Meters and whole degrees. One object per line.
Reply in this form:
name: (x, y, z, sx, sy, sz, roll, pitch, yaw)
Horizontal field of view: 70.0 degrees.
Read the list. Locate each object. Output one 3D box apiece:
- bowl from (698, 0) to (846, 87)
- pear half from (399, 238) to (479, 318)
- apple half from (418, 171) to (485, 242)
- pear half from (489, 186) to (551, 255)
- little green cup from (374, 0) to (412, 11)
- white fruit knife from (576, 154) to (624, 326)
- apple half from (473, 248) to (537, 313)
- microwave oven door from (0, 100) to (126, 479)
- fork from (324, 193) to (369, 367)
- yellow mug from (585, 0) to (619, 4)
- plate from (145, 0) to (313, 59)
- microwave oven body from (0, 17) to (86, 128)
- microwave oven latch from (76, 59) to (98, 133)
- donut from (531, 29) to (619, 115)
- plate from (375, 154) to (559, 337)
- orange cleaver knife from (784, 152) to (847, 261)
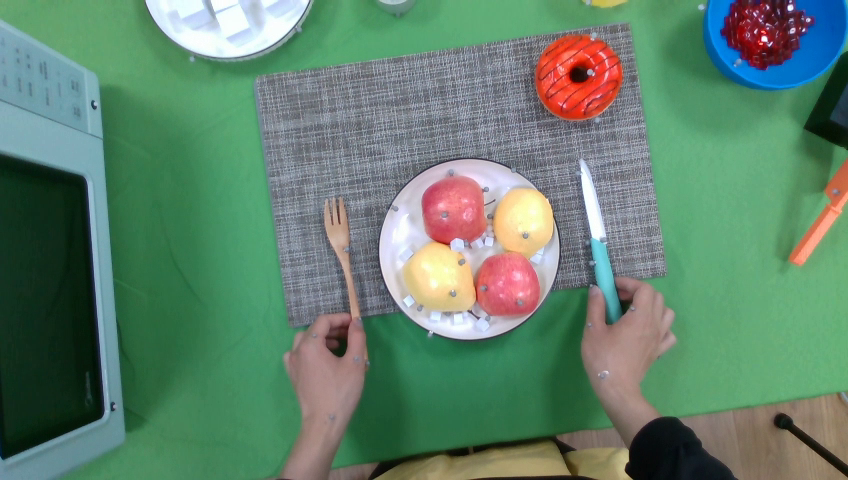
bowl: (0.373, -0.238, 0.680, 0.151, 0.077, 0.151, 0, 89, 2)
pear half: (0.025, 0.050, 0.682, 0.110, 0.056, 0.076, 43, 94, -2)
apple half: (0.030, -0.038, 0.681, 0.074, 0.053, 0.081, -3, 92, 2)
pear half: (0.105, -0.018, 0.683, 0.070, 0.031, 0.088, 15, 92, 22)
little green cup: (-0.038, -0.301, 0.711, 0.061, 0.038, 0.061, 0, 88, 2)
white fruit knife: (0.201, 0.000, 0.704, 0.027, 0.016, 0.207, -9, 85, -33)
apple half: (0.085, 0.047, 0.678, 0.081, 0.033, 0.081, 1, 93, 24)
microwave oven door: (-0.382, 0.050, 0.590, 0.039, 0.244, 0.355, -6, 88, 2)
fork: (-0.088, 0.047, 0.709, 0.028, 0.018, 0.207, -11, 88, 7)
yellow mug: (0.195, -0.332, 0.692, 0.131, 0.064, 0.100, 2, 88, 2)
plate: (-0.226, -0.313, 0.716, 0.207, 0.039, 0.207, 0, 88, 1)
microwave oven body: (-0.532, 0.022, 0.599, 0.326, 0.260, 0.441, -5, 89, 1)
microwave oven latch: (-0.397, -0.164, 0.697, 0.030, 0.029, 0.079, -5, 89, 1)
donut: (0.172, -0.192, 0.696, 0.099, 0.048, 0.099, 0, 89, 4)
plate: (0.049, 0.006, 0.697, 0.209, 0.038, 0.209, 0, 88, 2)
orange cleaver knife: (0.466, -0.071, 0.670, 0.012, 0.077, 0.212, 29, 114, 7)
